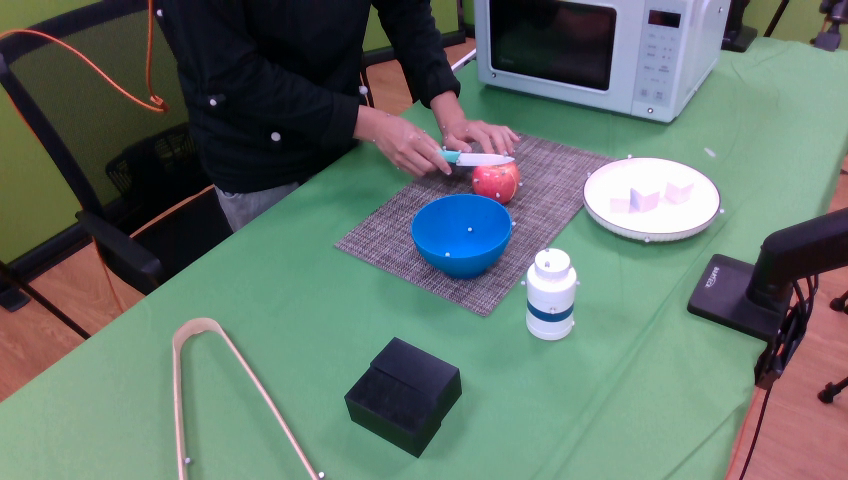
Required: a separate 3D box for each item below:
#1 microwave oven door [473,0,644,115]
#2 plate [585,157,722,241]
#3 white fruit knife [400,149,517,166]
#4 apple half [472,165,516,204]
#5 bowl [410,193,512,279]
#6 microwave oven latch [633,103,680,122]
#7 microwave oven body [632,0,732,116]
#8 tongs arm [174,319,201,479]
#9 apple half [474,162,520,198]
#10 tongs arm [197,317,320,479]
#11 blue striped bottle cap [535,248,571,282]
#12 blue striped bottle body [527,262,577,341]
[{"bbox_3d":[0.257,-0.396,1.199,0.353,0.245,0.039,21,48,29],"label":"microwave oven door"},{"bbox_3d":[0.367,-0.063,0.979,0.207,0.039,0.206,-4,40,4],"label":"plate"},{"bbox_3d":[0.054,-0.138,1.011,0.206,0.027,0.016,4,28,21],"label":"white fruit knife"},{"bbox_3d":[0.112,-0.085,1.005,0.081,0.081,0.033,12,40,22],"label":"apple half"},{"bbox_3d":[0.058,0.005,0.905,0.151,0.077,0.150,-4,40,4],"label":"bowl"},{"bbox_3d":[0.444,-0.249,1.158,0.078,0.029,0.030,21,49,30],"label":"microwave oven latch"},{"bbox_3d":[0.377,-0.463,1.267,0.438,0.261,0.327,21,49,30],"label":"microwave oven body"},{"bbox_3d":[-0.272,0.234,0.723,0.051,0.026,0.381,-19,40,-14],"label":"tongs arm"},{"bbox_3d":[0.129,-0.108,1.032,0.080,0.075,0.053,9,37,26],"label":"apple half"},{"bbox_3d":[-0.200,0.207,0.750,0.028,0.028,0.384,-31,45,-22],"label":"tongs arm"},{"bbox_3d":[0.161,0.031,0.753,0.044,0.021,0.044,-4,42,4],"label":"blue striped bottle cap"},{"bbox_3d":[0.165,0.070,0.786,0.063,0.121,0.063,-4,41,4],"label":"blue striped bottle body"}]
